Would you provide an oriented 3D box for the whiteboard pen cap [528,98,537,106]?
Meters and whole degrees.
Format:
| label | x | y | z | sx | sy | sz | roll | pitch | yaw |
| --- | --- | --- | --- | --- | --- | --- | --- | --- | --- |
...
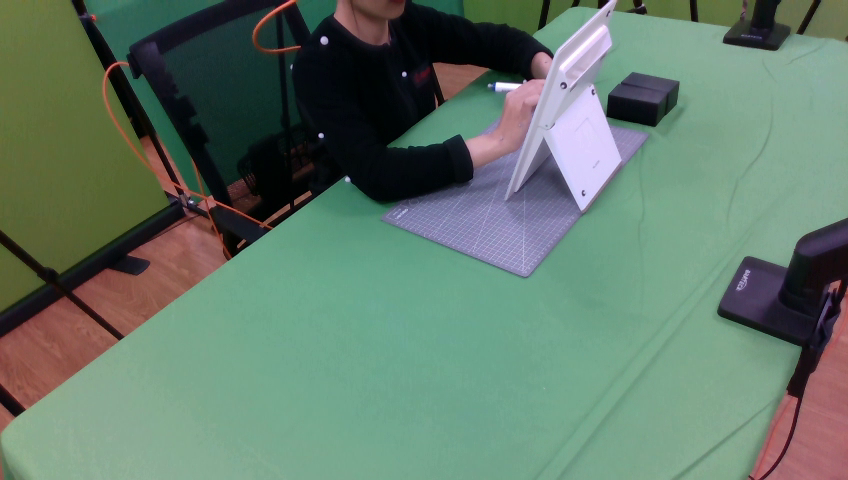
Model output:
| label | x | y | z | sx | sy | sz | roll | pitch | yaw |
| --- | --- | --- | --- | --- | --- | --- | --- | --- | --- |
| whiteboard pen cap | 0.239 | -0.293 | 1.288 | 0.033 | 0.018 | 0.018 | 23 | 50 | 36 |

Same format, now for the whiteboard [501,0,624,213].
| label | x | y | z | sx | sy | sz | roll | pitch | yaw |
| --- | --- | --- | --- | --- | --- | --- | --- | --- | --- |
| whiteboard | 0.271 | -0.189 | 0.977 | 0.143 | 0.306 | 0.218 | 34 | 53 | 16 |

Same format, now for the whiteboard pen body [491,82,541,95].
| label | x | y | z | sx | sy | sz | roll | pitch | yaw |
| --- | --- | --- | --- | --- | --- | --- | --- | --- | --- |
| whiteboard pen body | 0.188 | -0.264 | 1.060 | 0.140 | 0.017 | 0.017 | 7 | 43 | 8 |
